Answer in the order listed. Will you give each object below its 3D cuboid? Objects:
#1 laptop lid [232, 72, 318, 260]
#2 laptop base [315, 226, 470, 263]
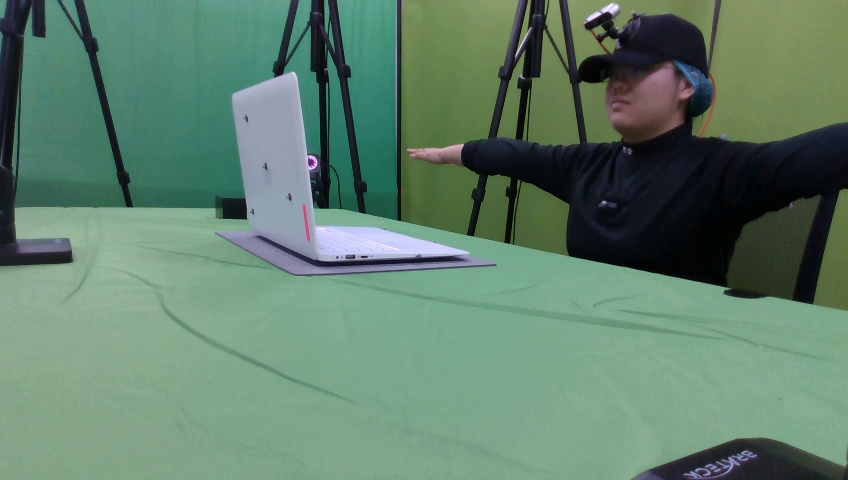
[{"bbox_3d":[-0.229,-0.109,0.888,0.013,0.241,0.355,-10,14,-28],"label":"laptop lid"},{"bbox_3d":[-0.117,0.005,0.970,0.237,0.023,0.352,2,6,-30],"label":"laptop base"}]
